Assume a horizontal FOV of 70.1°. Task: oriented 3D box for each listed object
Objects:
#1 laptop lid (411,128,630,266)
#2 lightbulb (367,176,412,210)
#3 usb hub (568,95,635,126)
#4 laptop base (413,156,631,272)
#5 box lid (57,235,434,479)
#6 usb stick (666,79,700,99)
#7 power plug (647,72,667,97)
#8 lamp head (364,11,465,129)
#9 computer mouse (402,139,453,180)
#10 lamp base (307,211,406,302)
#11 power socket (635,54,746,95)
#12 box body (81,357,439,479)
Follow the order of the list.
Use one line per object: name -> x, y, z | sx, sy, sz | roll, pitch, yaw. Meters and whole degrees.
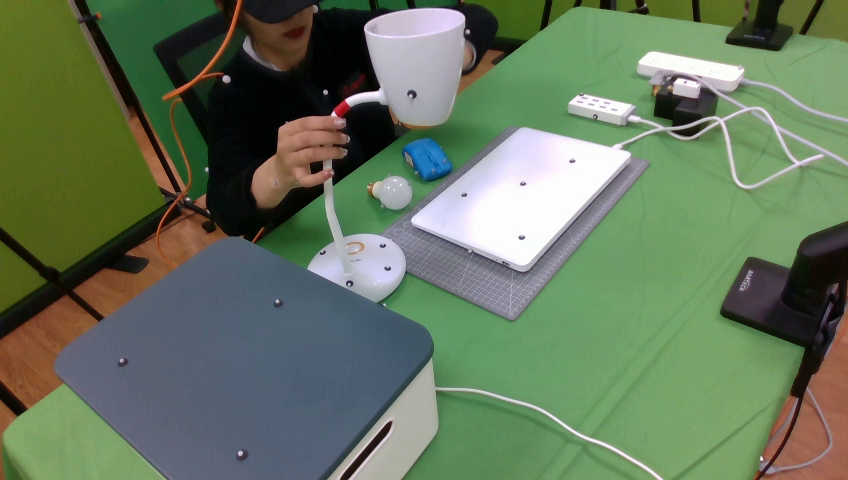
laptop lid -> 0.172, -0.093, 1.049 | 0.239, 0.013, 0.358 | 24, 50, 36
lightbulb -> -0.066, -0.086, 1.084 | 0.060, 0.060, 0.107 | -38, 32, -30
usb hub -> 0.360, -0.264, 1.228 | 0.124, 0.025, 0.049 | 24, 49, 34
laptop base -> 0.176, -0.084, 1.056 | 0.233, 0.023, 0.355 | 21, 48, 36
box lid -> -0.198, 0.123, 0.653 | 0.368, 0.015, 0.264 | 22, 49, 32
usb stick -> 0.492, -0.288, 1.152 | 0.058, 0.027, 0.021 | 20, 50, 34
power plug -> 0.494, -0.320, 1.260 | 0.073, 0.052, 0.035 | 1, 19, -41
lamp head -> -0.010, -0.191, 0.695 | 0.112, 0.123, 0.112 | 0, 34, 0
computer mouse -> 0.006, -0.159, 1.165 | 0.063, 0.041, 0.116 | -21, 45, -17
lamp base -> -0.114, -0.003, 0.887 | 0.161, 0.181, 0.178 | -14, 44, -5
power socket -> 0.564, -0.357, 1.293 | 0.225, 0.033, 0.072 | 24, 51, 33
box body -> -0.189, 0.178, 0.702 | 0.361, 0.161, 0.255 | 22, 49, 32
